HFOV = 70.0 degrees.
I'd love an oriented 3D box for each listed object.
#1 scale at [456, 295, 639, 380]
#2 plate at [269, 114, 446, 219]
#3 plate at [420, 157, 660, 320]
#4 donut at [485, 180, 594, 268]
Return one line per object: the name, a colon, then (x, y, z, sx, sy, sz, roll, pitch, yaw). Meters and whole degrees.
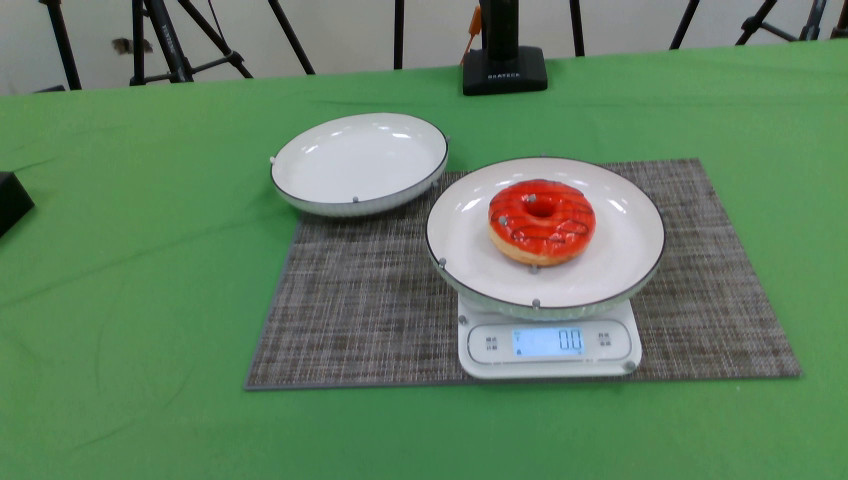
scale: (0.104, 0.037, 0.553, 0.148, 0.032, 0.199, -3, 41, 6)
plate: (-0.077, -0.086, 0.718, 0.209, 0.038, 0.207, -5, 39, 4)
plate: (0.101, -0.002, 0.549, 0.207, 0.039, 0.205, -3, 41, 3)
donut: (0.103, -0.015, 0.545, 0.099, 0.049, 0.098, -2, 42, 2)
